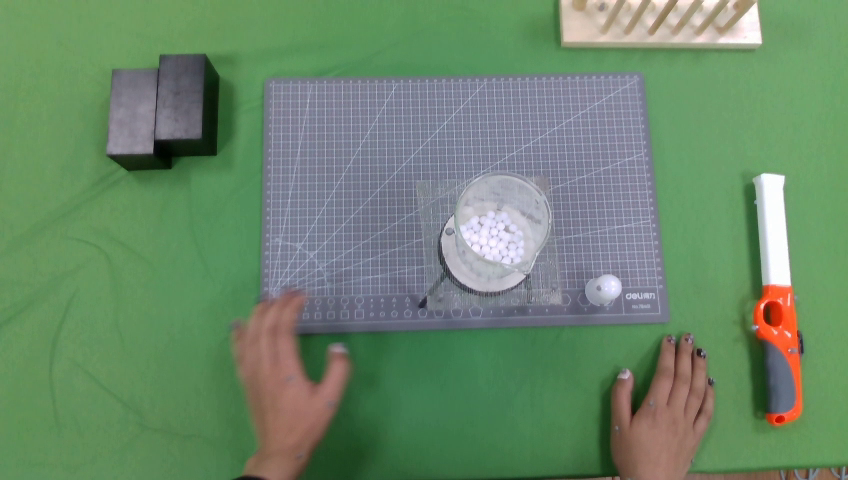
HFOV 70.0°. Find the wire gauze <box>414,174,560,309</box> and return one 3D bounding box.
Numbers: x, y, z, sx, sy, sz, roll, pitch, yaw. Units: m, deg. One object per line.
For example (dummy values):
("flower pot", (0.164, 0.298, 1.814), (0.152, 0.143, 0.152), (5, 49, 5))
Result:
("wire gauze", (0.056, 0.000, 0.549), (0.125, 0.011, 0.121), (-4, 76, 0))

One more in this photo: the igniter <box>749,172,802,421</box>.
("igniter", (0.386, 0.059, 0.671), (0.057, 0.025, 0.275), (5, 78, -11))

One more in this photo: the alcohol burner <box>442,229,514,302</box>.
("alcohol burner", (0.056, 0.023, 0.622), (0.078, 0.119, 0.077), (1, 76, -2))

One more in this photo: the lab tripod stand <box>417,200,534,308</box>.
("lab tripod stand", (0.052, 0.017, 0.613), (0.148, 0.132, 0.147), (0, 77, 0))

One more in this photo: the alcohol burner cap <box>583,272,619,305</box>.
("alcohol burner cap", (0.194, 0.052, 0.657), (0.034, 0.048, 0.033), (0, 76, 0))

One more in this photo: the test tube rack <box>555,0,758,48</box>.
("test tube rack", (0.284, -0.277, 0.708), (0.242, 0.085, 0.066), (0, 78, -2))

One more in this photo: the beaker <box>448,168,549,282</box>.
("beaker", (0.058, -0.004, 0.500), (0.074, 0.100, 0.083), (-24, 78, -5))

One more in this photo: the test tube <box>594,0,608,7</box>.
("test tube", (0.213, -0.307, 0.661), (0.017, 0.151, 0.017), (1, 74, -1))
